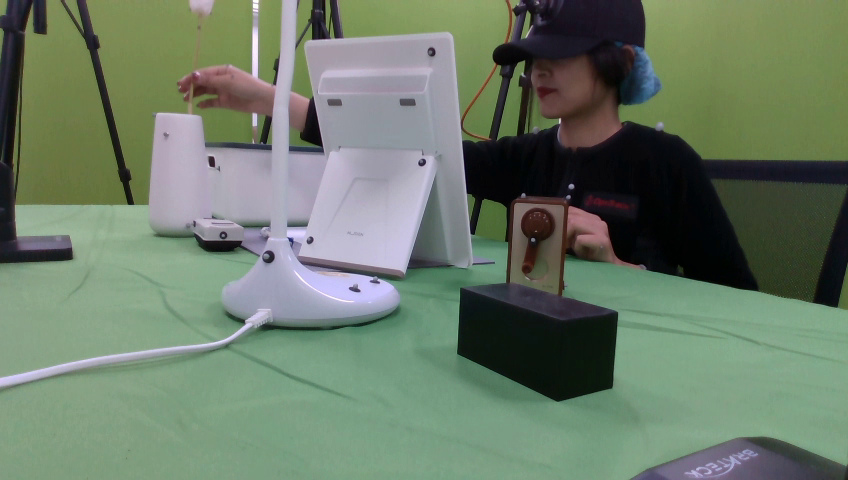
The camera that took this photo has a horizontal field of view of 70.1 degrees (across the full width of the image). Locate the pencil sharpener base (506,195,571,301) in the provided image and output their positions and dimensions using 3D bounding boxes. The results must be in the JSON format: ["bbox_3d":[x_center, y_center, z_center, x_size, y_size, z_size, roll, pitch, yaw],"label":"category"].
[{"bbox_3d":[0.126,0.007,0.662,0.061,0.107,0.077,4,8,13],"label":"pencil sharpener base"}]

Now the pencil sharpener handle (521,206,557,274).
[{"bbox_3d":[0.112,0.001,0.611,0.036,0.067,0.031,13,10,11],"label":"pencil sharpener handle"}]

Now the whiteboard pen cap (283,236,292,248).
[{"bbox_3d":[-0.211,0.003,0.913,0.018,0.018,0.033,-2,6,-28],"label":"whiteboard pen cap"}]

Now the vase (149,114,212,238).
[{"bbox_3d":[-0.405,-0.106,1.005,0.098,0.200,0.098,2,6,0],"label":"vase"}]

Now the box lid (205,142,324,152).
[{"bbox_3d":[-0.270,-0.196,1.310,0.373,0.015,0.262,-2,9,-30],"label":"box lid"}]

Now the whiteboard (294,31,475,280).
[{"bbox_3d":[-0.076,-0.084,0.746,0.216,0.305,0.144,7,28,29],"label":"whiteboard"}]

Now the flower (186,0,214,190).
[{"bbox_3d":[-0.381,-0.257,1.002,0.044,0.361,0.038,-9,-13,41],"label":"flower"}]

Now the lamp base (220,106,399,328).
[{"bbox_3d":[-0.102,-0.023,0.531,0.160,0.180,0.179,4,10,10],"label":"lamp base"}]

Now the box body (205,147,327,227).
[{"bbox_3d":[-0.276,-0.122,1.320,0.366,0.160,0.253,-2,9,-30],"label":"box body"}]

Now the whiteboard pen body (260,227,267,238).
[{"bbox_3d":[-0.239,-0.005,0.964,0.017,0.017,0.140,-2,9,-28],"label":"whiteboard pen body"}]

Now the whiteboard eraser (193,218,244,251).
[{"bbox_3d":[-0.307,-0.009,0.900,0.056,0.042,0.112,-4,10,-28],"label":"whiteboard eraser"}]
